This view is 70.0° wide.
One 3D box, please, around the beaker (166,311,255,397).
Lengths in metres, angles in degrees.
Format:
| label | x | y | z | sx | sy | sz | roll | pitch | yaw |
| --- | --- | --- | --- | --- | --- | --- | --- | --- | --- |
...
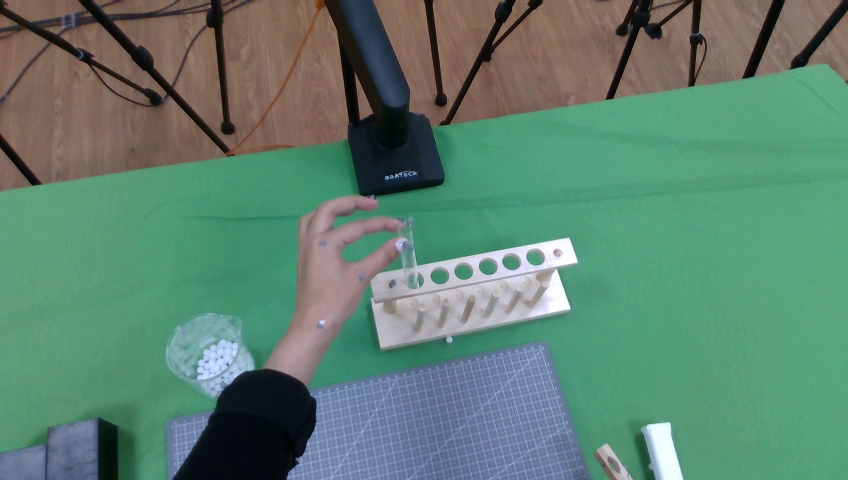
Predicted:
| label | x | y | z | sx | sy | sz | roll | pitch | yaw |
| --- | --- | --- | --- | --- | --- | --- | --- | --- | --- |
| beaker | -0.228 | 0.128 | 0.669 | 0.073 | 0.101 | 0.084 | 40 | 67 | 15 |

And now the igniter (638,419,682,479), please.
| label | x | y | z | sx | sy | sz | roll | pitch | yaw |
| --- | --- | --- | --- | --- | --- | --- | --- | --- | --- |
| igniter | 0.279 | 0.332 | 0.643 | 0.057 | 0.025 | 0.274 | 0 | 64 | -15 |

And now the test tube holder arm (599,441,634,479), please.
| label | x | y | z | sx | sy | sz | roll | pitch | yaw |
| --- | --- | --- | --- | --- | --- | --- | --- | --- | --- |
| test tube holder arm | 0.233 | 0.281 | 0.607 | 0.013 | 0.015 | 0.176 | -28 | 59 | -15 |

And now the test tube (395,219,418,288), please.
| label | x | y | z | sx | sy | sz | roll | pitch | yaw |
| --- | --- | --- | --- | --- | --- | --- | --- | --- | --- |
| test tube | -0.018 | 0.022 | 0.642 | 0.017 | 0.151 | 0.017 | -1 | 61 | 2 |

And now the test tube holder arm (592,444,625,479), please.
| label | x | y | z | sx | sy | sz | roll | pitch | yaw |
| --- | --- | --- | --- | --- | --- | --- | --- | --- | --- |
| test tube holder arm | 0.205 | 0.253 | 0.628 | 0.010 | 0.015 | 0.087 | -27 | 59 | -14 |

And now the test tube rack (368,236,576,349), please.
| label | x | y | z | sx | sy | sz | roll | pitch | yaw |
| --- | --- | --- | --- | --- | --- | --- | --- | --- | --- |
| test tube rack | 0.059 | 0.064 | 0.727 | 0.243 | 0.086 | 0.066 | -10 | 65 | -9 |
